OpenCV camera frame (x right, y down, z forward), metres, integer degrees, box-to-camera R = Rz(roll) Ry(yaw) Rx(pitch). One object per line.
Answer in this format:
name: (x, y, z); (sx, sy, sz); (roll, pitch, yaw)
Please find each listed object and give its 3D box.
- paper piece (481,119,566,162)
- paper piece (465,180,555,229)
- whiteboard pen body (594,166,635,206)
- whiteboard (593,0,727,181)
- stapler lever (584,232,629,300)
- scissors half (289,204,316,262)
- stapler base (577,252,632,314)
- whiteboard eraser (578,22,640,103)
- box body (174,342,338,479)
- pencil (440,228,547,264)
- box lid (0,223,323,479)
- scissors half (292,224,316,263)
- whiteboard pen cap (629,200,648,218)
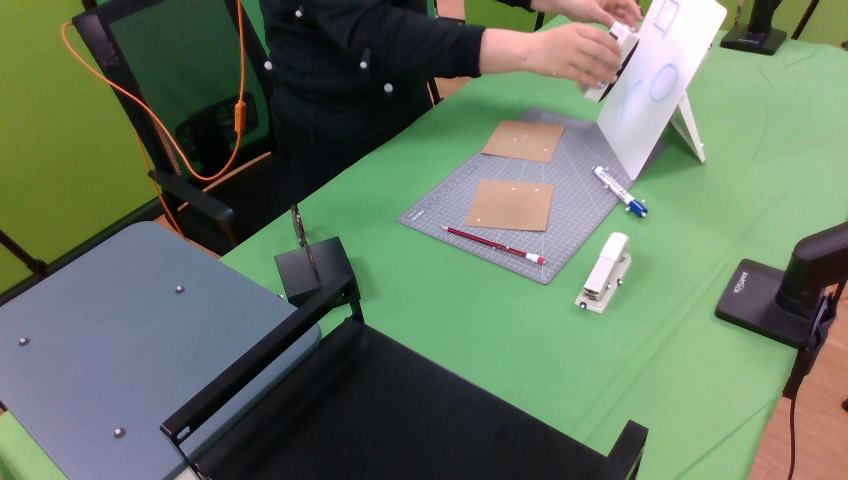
paper piece: (0.197, -0.199, 1.188); (0.135, 0.004, 0.135); (10, 45, 22)
paper piece: (0.149, -0.062, 1.034); (0.137, 0.009, 0.136); (4, 37, 17)
whiteboard pen body: (0.330, -0.085, 1.027); (0.017, 0.017, 0.139); (-16, 41, -10)
whiteboard: (0.453, -0.272, 1.056); (0.144, 0.305, 0.216); (9, 38, -12)
stapler lever: (0.260, 0.034, 0.858); (0.026, 0.040, 0.118); (16, 46, 29)
scissors half: (-0.189, -0.011, 0.944); (0.013, 0.040, 0.173); (-14, 36, -17)
stapler base: (0.264, 0.051, 0.875); (0.041, 0.024, 0.131); (16, 47, 29)
whiteboard eraser: (0.282, -0.268, 0.917); (0.042, 0.112, 0.055); (17, 31, -17)
box body: (-0.311, 0.165, 0.720); (0.361, 0.161, 0.255); (23, 49, 32)
pencil: (0.105, 0.006, 0.957); (0.192, 0.012, 0.012); (18, 46, 30)
box lid: (-0.318, 0.109, 0.671); (0.368, 0.015, 0.264); (24, 49, 31)
scissors half: (-0.187, 0.007, 0.954); (0.013, 0.040, 0.174); (-19, 21, -14)
whiteboard pen cap: (0.348, -0.052, 0.983); (0.018, 0.018, 0.033); (-18, 42, -12)
